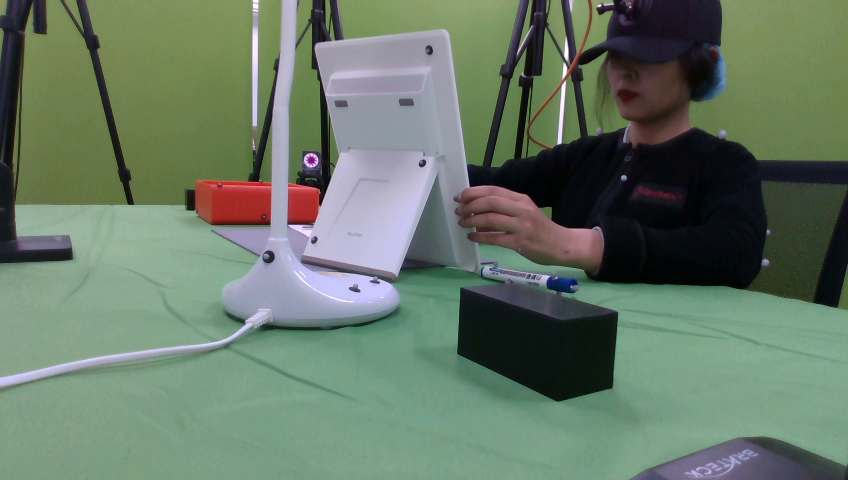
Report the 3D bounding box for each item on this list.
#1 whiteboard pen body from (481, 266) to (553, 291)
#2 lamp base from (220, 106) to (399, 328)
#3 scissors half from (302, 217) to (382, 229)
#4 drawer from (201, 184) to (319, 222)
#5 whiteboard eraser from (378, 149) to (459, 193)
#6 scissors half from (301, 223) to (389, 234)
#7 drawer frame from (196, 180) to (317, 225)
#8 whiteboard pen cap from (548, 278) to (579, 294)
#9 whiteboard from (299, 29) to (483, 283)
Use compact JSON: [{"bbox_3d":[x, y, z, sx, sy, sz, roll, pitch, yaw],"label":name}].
[{"bbox_3d":[0.115,0.045,0.695,0.017,0.017,0.140,-3,6,-35],"label":"whiteboard pen body"},{"bbox_3d":[-0.102,-0.023,0.531,0.160,0.180,0.179,4,10,10],"label":"lamp base"},{"bbox_3d":[-0.161,-0.031,1.198,0.176,0.013,0.040,-8,24,-39],"label":"scissors half"},{"bbox_3d":[-0.353,-0.082,1.296,0.213,0.073,0.193,-2,10,-28],"label":"drawer"},{"bbox_3d":[-0.011,-0.091,0.807,0.112,0.056,0.042,9,44,39],"label":"whiteboard eraser"},{"bbox_3d":[-0.152,-0.023,1.182,0.176,0.013,0.040,1,24,-21],"label":"scissors half"},{"bbox_3d":[-0.359,-0.083,1.292,0.215,0.082,0.200,-2,10,-30],"label":"drawer frame"},{"bbox_3d":[0.148,0.049,0.646,0.018,0.018,0.033,-3,3,-36],"label":"whiteboard pen cap"},{"bbox_3d":[-0.074,-0.082,0.742,0.216,0.305,0.144,9,29,38],"label":"whiteboard"}]
